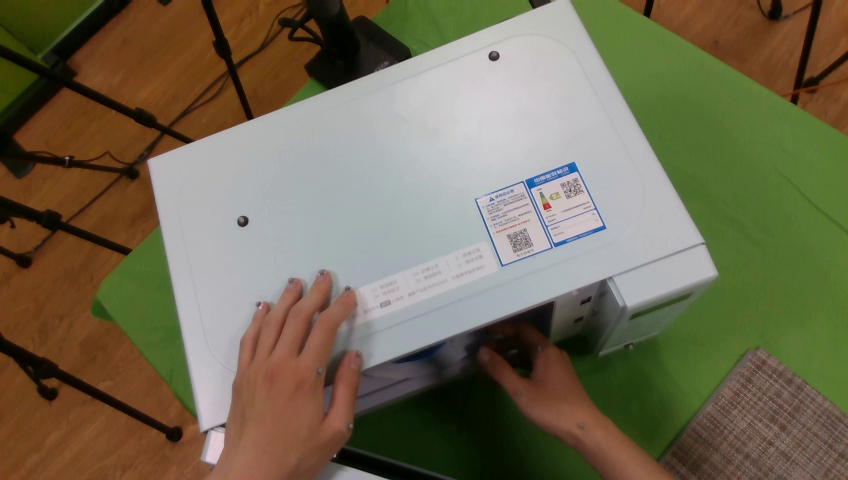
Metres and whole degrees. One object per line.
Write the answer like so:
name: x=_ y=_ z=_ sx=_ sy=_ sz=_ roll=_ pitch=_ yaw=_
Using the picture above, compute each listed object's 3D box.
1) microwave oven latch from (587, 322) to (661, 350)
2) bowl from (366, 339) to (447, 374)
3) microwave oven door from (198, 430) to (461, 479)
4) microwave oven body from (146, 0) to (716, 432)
microwave oven latch: x=0.226 y=0.098 z=0.681 sx=0.079 sy=0.030 sz=0.030 roll=-19 pitch=69 yaw=2
bowl: x=-0.038 y=0.070 z=0.647 sx=0.151 sy=0.077 sz=0.150 roll=0 pitch=74 yaw=-1
microwave oven door: x=0.006 y=0.237 z=0.557 sx=0.355 sy=0.245 sz=0.039 roll=12 pitch=72 yaw=13
microwave oven body: x=-0.003 y=0.000 z=0.648 sx=0.442 sy=0.262 sz=0.323 roll=-21 pitch=69 yaw=2
